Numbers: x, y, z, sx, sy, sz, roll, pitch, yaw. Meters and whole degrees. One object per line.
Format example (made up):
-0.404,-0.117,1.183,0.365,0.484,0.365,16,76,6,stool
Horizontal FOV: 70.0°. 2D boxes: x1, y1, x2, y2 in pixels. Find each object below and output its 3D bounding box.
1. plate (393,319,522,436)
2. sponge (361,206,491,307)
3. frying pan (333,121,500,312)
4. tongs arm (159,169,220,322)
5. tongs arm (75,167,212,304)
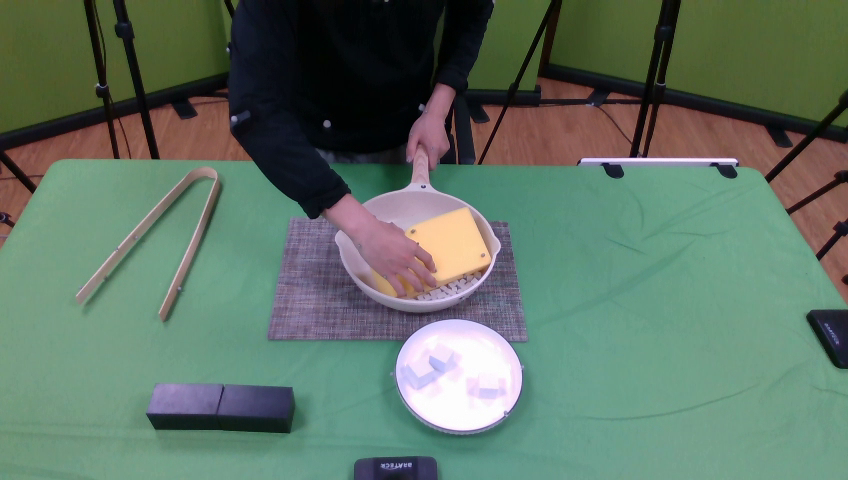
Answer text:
0.053,0.222,0.979,0.208,0.039,0.206,3,46,-2,plate
0.005,0.028,1.098,0.207,0.061,0.118,-19,78,-23,sponge
-0.010,-0.063,1.195,0.307,0.103,0.485,4,55,-2,frying pan
-0.446,-0.005,1.164,0.028,0.028,0.385,2,46,0,tongs arm
-0.525,-0.021,1.167,0.051,0.026,0.383,13,46,7,tongs arm
